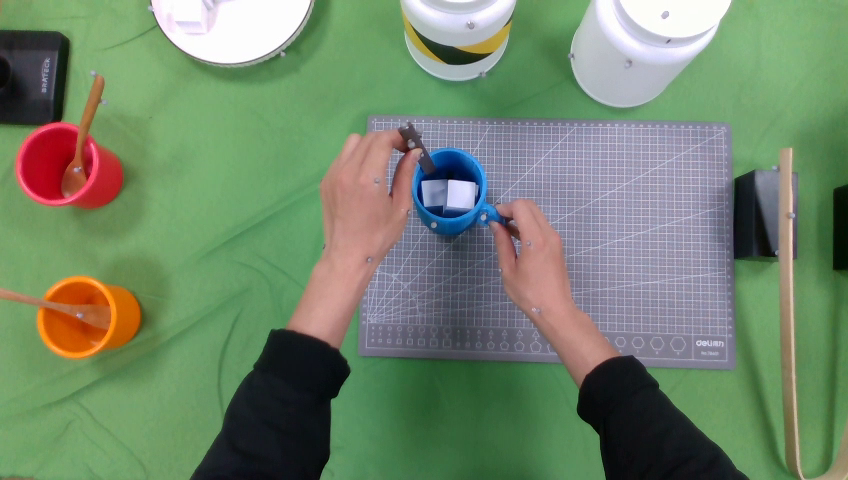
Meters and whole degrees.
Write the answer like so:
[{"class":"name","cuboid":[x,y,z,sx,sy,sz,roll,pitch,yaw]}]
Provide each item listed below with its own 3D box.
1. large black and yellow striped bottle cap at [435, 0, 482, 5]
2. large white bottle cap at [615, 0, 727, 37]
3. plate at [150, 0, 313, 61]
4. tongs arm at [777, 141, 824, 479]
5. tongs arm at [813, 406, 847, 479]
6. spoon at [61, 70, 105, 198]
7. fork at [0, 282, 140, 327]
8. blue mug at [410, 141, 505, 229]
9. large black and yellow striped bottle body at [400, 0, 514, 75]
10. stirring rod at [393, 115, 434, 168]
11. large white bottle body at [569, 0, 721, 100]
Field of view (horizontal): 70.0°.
[{"class":"large black and yellow striped bottle cap","cuboid":[0.034,-0.290,0.595,0.115,0.019,0.114,0,86,0]},{"class":"large white bottle cap","cuboid":[0.240,-0.254,0.586,0.115,0.018,0.114,0,84,1]},{"class":"plate","cuboid":[-0.236,-0.323,0.762,0.207,0.039,0.207,0,85,1]},{"class":"tongs arm","cuboid":[0.421,0.082,0.675,0.051,0.026,0.385,-3,96,-1]},{"class":"tongs arm","cuboid":[0.503,0.086,0.676,0.028,0.027,0.388,10,97,-6]},{"class":"spoon","cuboid":[-0.390,-0.117,0.694,0.041,0.021,0.194,48,131,8]},{"class":"fork","cuboid":[-0.425,0.064,0.675,0.209,0.018,0.028,24,84,-40]},{"class":"blue mug","cuboid":[0.042,-0.052,0.694,0.116,0.106,0.082,30,86,4]},{"class":"large black and yellow striped bottle body","cuboid":[0.037,-0.279,0.678,0.131,0.184,0.130,0,84,2]},{"class":"stirring rod","cuboid":[-0.007,-0.091,0.586,0.014,0.176,0.006,-34,81,4]},{"class":"large white bottle body","cuboid":[0.242,-0.245,0.669,0.130,0.185,0.130,0,84,1]}]
